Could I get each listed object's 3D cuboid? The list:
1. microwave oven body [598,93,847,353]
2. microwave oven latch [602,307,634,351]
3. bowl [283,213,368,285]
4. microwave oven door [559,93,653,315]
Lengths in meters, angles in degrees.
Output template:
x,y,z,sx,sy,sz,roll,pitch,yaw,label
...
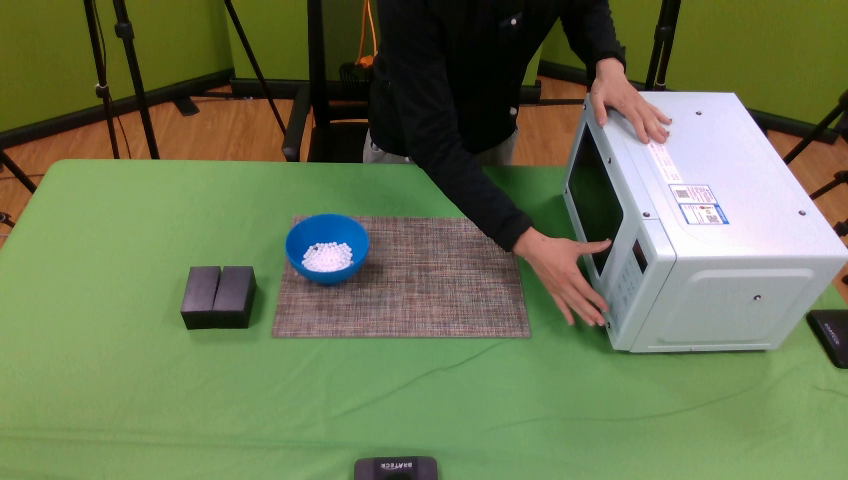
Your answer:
x,y,z,sx,sy,sz,roll,pitch,yaw,label
0.475,-0.042,1.109,0.326,0.261,0.438,-1,45,-4,microwave oven body
0.332,0.153,1.044,0.030,0.029,0.078,0,45,-4,microwave oven latch
-0.178,0.030,1.114,0.151,0.077,0.150,3,45,-2,bowl
0.327,-0.074,1.123,0.039,0.245,0.353,-1,46,-5,microwave oven door
